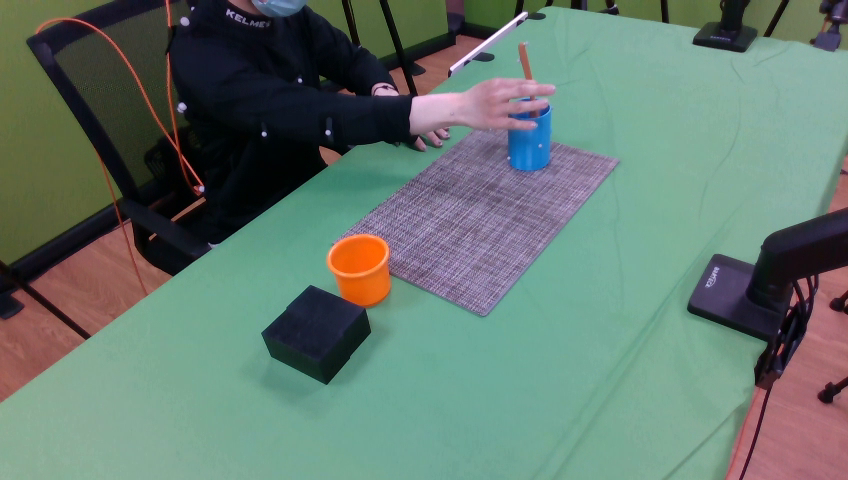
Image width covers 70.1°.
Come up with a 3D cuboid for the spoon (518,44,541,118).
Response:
[{"bbox_3d":[0.185,-0.250,1.046,0.041,0.195,0.021,11,47,35],"label":"spoon"}]

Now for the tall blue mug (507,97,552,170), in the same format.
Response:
[{"bbox_3d":[0.179,-0.198,1.101,0.078,0.108,0.106,-36,48,-28],"label":"tall blue mug"}]
